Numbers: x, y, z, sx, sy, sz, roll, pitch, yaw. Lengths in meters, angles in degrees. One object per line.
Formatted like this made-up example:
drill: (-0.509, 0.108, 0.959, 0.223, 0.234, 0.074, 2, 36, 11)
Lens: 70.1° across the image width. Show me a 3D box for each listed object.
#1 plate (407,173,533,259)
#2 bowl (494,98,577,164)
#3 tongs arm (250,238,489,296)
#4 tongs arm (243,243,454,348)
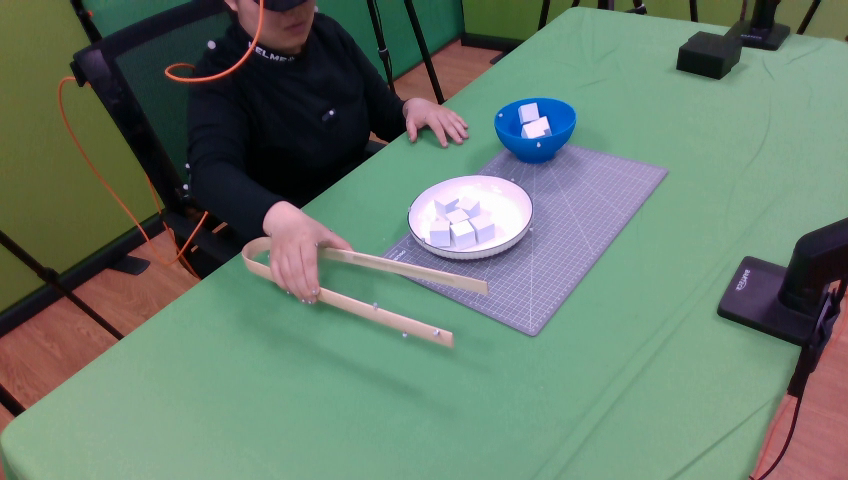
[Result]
plate: (0.076, -0.037, 0.997, 0.207, 0.039, 0.206, -5, 40, 5)
bowl: (0.207, -0.196, 1.128, 0.151, 0.077, 0.150, -5, 40, 5)
tongs arm: (-0.089, 0.038, 0.886, 0.385, 0.028, 0.028, 10, 45, 22)
tongs arm: (-0.118, 0.071, 0.846, 0.382, 0.026, 0.051, 14, 43, 27)
